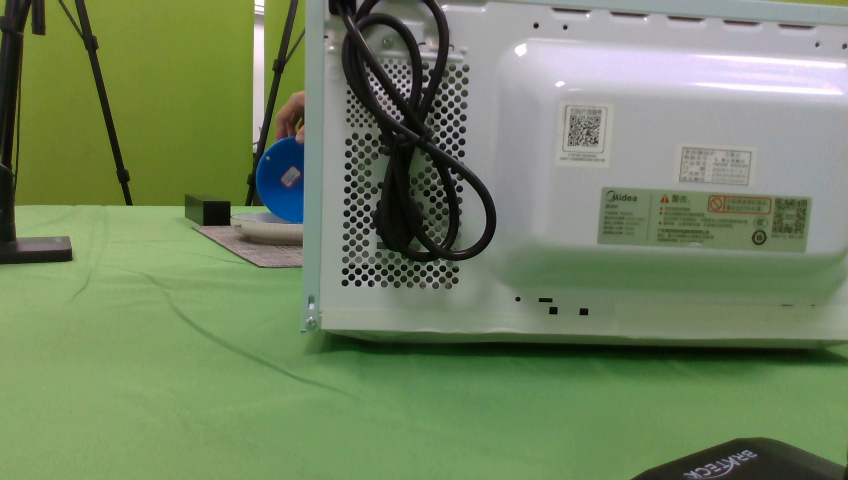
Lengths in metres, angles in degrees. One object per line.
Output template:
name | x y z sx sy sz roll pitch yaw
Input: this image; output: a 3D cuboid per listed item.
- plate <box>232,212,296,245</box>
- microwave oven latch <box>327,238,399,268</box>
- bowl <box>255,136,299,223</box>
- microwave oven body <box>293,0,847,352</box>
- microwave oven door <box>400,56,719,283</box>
plate | -0.214 -0.020 1.018 0.208 0.039 0.207 2 7 0
microwave oven latch | -0.069 0.015 0.694 0.079 0.029 0.030 3 7 -3
bowl | -0.228 -0.111 1.063 0.152 0.151 0.076 -1 14 -28
microwave oven body | 0.122 -0.055 0.550 0.442 0.260 0.325 3 7 -5
microwave oven door | 0.155 -0.077 0.698 0.356 0.243 0.039 2 8 -5
